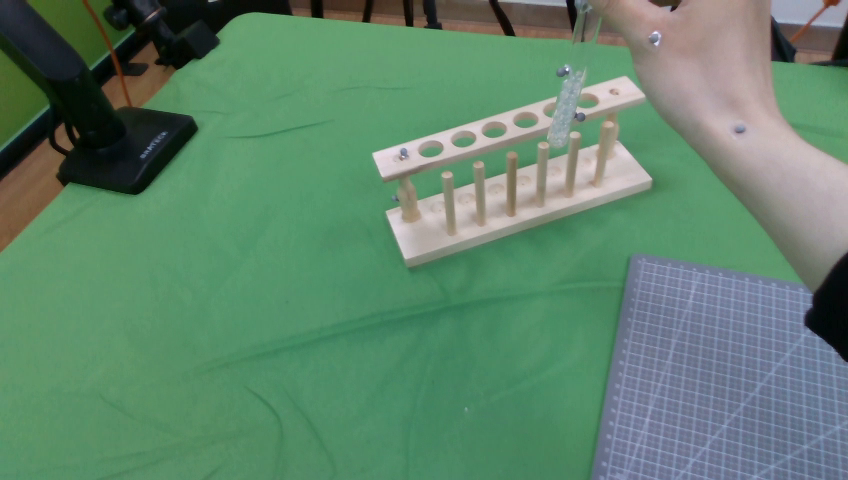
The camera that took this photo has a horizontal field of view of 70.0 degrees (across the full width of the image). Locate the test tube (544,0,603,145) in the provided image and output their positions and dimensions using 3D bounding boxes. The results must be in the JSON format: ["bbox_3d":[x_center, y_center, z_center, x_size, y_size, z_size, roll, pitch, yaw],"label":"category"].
[{"bbox_3d":[0.099,-0.122,0.394,0.017,0.152,0.017,2,50,-1],"label":"test tube"}]

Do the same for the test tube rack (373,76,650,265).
[{"bbox_3d":[0.084,-0.063,0.545,0.242,0.086,0.066,-18,50,-7],"label":"test tube rack"}]
